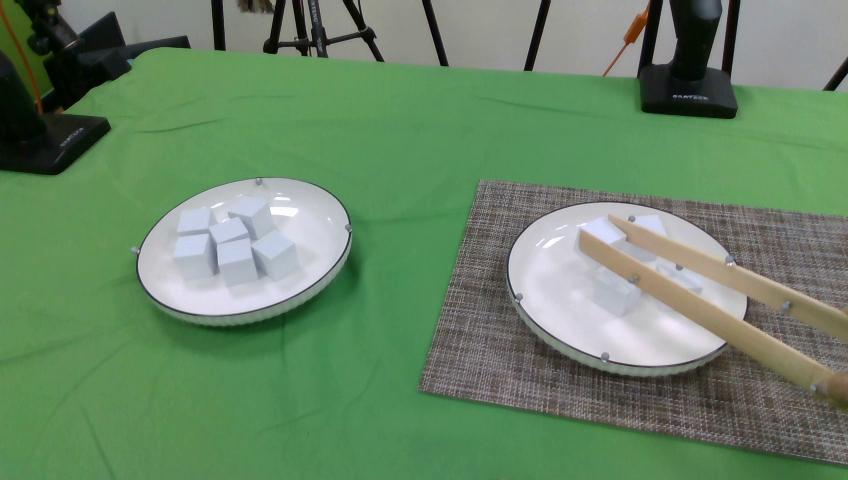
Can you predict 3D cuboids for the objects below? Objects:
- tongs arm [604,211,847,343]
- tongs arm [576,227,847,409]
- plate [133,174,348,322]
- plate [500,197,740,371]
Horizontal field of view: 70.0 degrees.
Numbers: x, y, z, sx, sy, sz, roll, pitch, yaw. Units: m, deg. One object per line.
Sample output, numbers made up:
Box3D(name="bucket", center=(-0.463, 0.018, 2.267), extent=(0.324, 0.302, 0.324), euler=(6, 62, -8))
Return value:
Box3D(name="tongs arm", center=(0.272, 0.063, 0.427), extent=(0.051, 0.027, 0.381), euler=(-31, 40, -27))
Box3D(name="tongs arm", center=(0.252, 0.074, 0.418), extent=(0.028, 0.028, 0.383), euler=(-25, 38, -26))
Box3D(name="plate", center=(-0.179, 0.008, 0.614), extent=(0.209, 0.038, 0.207), euler=(-1, 42, 1))
Box3D(name="plate", center=(0.173, 0.038, 0.556), extent=(0.207, 0.039, 0.205), euler=(-1, 42, 2))
